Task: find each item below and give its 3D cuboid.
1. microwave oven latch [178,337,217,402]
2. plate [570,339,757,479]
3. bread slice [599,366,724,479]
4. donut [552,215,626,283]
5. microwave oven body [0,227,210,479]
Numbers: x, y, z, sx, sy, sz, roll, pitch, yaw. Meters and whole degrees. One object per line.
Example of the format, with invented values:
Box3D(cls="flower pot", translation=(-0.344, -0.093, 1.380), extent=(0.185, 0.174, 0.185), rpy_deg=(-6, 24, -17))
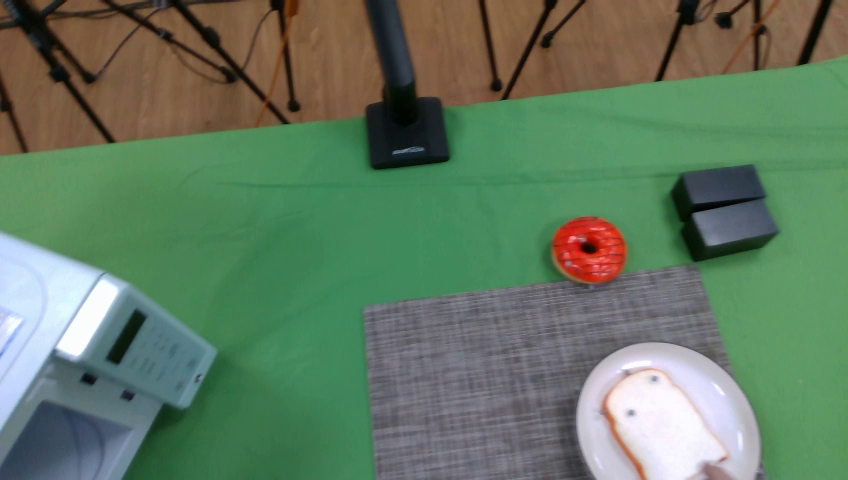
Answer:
Box3D(cls="microwave oven latch", translation=(-0.286, 0.155, 0.743), extent=(0.030, 0.030, 0.079), rpy_deg=(21, 68, 11))
Box3D(cls="plate", translation=(0.273, 0.221, 0.706), extent=(0.207, 0.039, 0.206), rpy_deg=(-1, 65, 2))
Box3D(cls="bread slice", translation=(0.270, 0.215, 0.710), extent=(0.105, 0.019, 0.130), rpy_deg=(-26, 68, -10))
Box3D(cls="donut", translation=(0.219, 0.012, 0.804), extent=(0.099, 0.048, 0.098), rpy_deg=(-3, 62, 6))
Box3D(cls="microwave oven body", translation=(-0.493, 0.217, 0.617), extent=(0.325, 0.262, 0.439), rpy_deg=(19, 68, 10))
